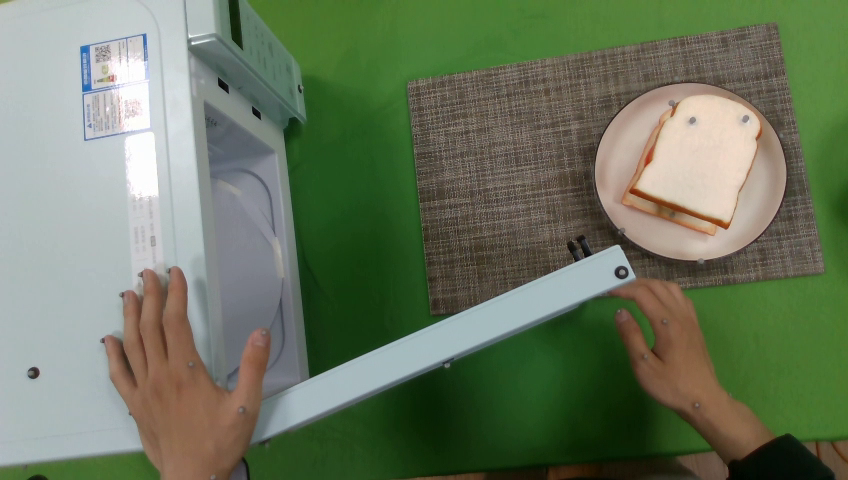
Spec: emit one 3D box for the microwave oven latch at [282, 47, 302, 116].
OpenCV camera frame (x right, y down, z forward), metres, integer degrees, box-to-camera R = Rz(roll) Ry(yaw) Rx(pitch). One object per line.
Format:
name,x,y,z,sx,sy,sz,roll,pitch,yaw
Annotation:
microwave oven latch,-0.174,-0.199,0.763,0.030,0.029,0.079,-9,83,7

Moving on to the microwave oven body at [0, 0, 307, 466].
microwave oven body,-0.309,-0.014,0.664,0.326,0.261,0.440,-9,83,7

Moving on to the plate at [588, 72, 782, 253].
plate,0.293,-0.086,0.696,0.207,0.039,0.207,-1,84,8

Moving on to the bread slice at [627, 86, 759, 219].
bread slice,0.289,-0.100,0.640,0.104,0.019,0.131,22,85,16

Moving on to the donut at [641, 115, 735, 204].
donut,0.291,-0.088,0.669,0.099,0.048,0.099,-1,85,9

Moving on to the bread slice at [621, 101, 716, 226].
bread slice,0.296,-0.094,0.697,0.106,0.018,0.134,17,86,10

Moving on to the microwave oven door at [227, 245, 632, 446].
microwave oven door,0.016,0.099,0.599,0.356,0.245,0.039,-25,79,5
